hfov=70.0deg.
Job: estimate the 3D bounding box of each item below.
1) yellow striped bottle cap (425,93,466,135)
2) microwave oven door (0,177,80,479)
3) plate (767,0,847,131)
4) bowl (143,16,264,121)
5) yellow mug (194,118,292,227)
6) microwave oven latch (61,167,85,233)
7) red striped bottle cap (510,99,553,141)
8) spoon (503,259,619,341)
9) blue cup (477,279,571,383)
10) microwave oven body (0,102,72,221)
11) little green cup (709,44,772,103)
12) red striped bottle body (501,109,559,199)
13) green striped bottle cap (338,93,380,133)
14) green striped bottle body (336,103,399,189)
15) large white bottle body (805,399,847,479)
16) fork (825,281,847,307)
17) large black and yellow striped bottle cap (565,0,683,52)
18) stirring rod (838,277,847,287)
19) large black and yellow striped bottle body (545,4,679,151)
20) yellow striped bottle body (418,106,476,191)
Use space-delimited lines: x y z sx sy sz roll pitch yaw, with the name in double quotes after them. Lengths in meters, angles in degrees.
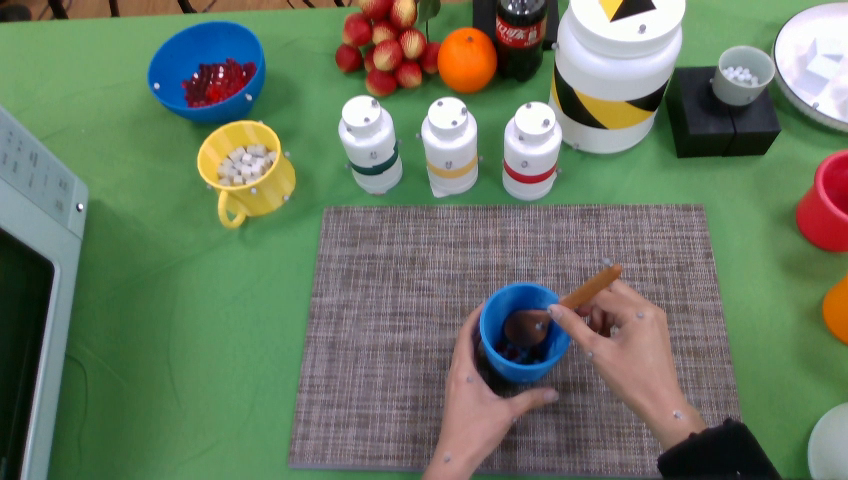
0.023 -0.136 0.654 0.044 0.019 0.044 -2 65 4 "yellow striped bottle cap"
-0.418 0.101 0.546 0.039 0.246 0.352 -9 63 1 "microwave oven door"
0.532 -0.214 0.752 0.209 0.038 0.207 -2 64 4 "plate"
-0.277 -0.211 0.799 0.151 0.077 0.150 -2 64 4 "bowl"
-0.223 -0.077 0.735 0.100 0.064 0.130 9 65 9 "yellow mug"
-0.434 -0.047 0.734 0.030 0.030 0.078 -7 64 2 "microwave oven latch"
0.114 -0.127 0.641 0.044 0.018 0.044 0 62 1 "red striped bottle cap"
0.118 0.059 0.547 0.041 0.194 0.021 44 63 3 "spoon"
0.095 0.098 0.596 0.092 0.101 0.092 -2 62 3 "blue cup"
-0.567 0.087 0.572 0.326 0.262 0.437 -9 64 1 "microwave oven body"
0.361 -0.190 0.698 0.061 0.039 0.061 -1 62 3 "little green cup"
0.120 -0.103 0.688 0.063 0.121 0.062 -4 61 8 "red striped bottle body"
-0.072 -0.139 0.664 0.044 0.020 0.044 -2 62 3 "green striped bottle cap"
-0.066 -0.116 0.711 0.063 0.120 0.062 -2 63 4 "green striped bottle body"
0.415 0.173 0.487 0.130 0.186 0.129 -2 63 4 "large white bottle body"
0.474 0.072 0.553 0.028 0.019 0.205 -32 21 -16 "fork"
0.203 -0.241 0.618 0.115 0.019 0.114 -2 62 5 "large black and yellow striped bottle cap"
0.446 0.072 0.561 0.014 0.006 0.175 -6 20 1 "stirring rod"
0.211 -0.204 0.694 0.131 0.185 0.129 -2 63 5 "large black and yellow striped bottle body"
0.028 -0.113 0.700 0.063 0.121 0.062 -2 63 5 "yellow striped bottle body"
